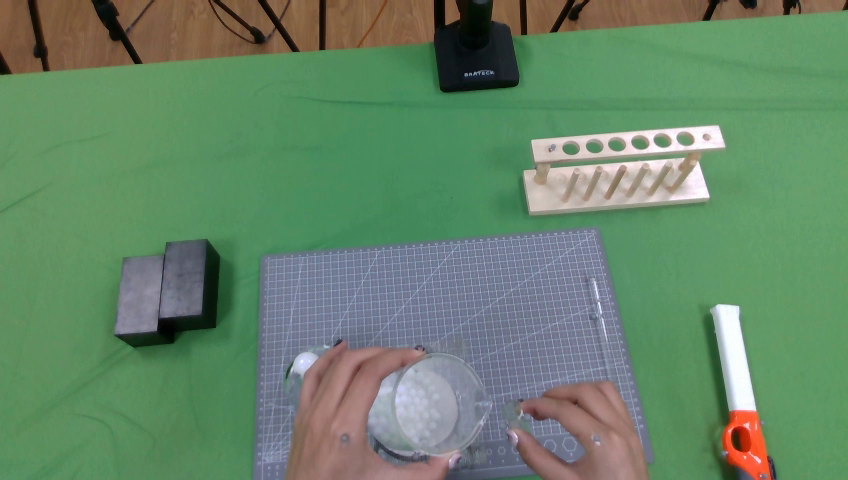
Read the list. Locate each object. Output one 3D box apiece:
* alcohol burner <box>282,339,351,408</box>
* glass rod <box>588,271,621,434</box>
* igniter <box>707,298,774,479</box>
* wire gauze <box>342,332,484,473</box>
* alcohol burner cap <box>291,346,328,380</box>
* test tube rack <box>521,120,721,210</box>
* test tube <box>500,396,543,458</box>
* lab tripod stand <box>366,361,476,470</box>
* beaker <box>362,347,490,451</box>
[{"bbox_3d":[-0.122,0.143,0.673,0.078,0.120,0.077,0,63,1],"label":"alcohol burner"},{"bbox_3d":[0.219,0.132,0.734,0.008,0.008,0.198,-4,68,-2],"label":"glass rod"},{"bbox_3d":[0.362,0.199,0.696,0.057,0.025,0.274,6,65,-8],"label":"igniter"},{"bbox_3d":[-0.013,0.153,0.583,0.125,0.011,0.120,-8,64,-3],"label":"wire gauze"},{"bbox_3d":[-0.122,0.129,0.640,0.034,0.048,0.033,-2,70,5],"label":"alcohol burner cap"},{"bbox_3d":[0.257,-0.098,0.800,0.242,0.086,0.066,-5,65,-2],"label":"test tube rack"},{"bbox_3d":[0.086,0.165,0.525,0.017,0.152,0.017,-9,56,14],"label":"test tube"},{"bbox_3d":[-0.012,0.185,0.642,0.148,0.132,0.147,-1,65,2],"label":"lab tripod stand"},{"bbox_3d":[-0.003,0.129,0.488,0.084,0.100,0.073,4,73,-19],"label":"beaker"}]
